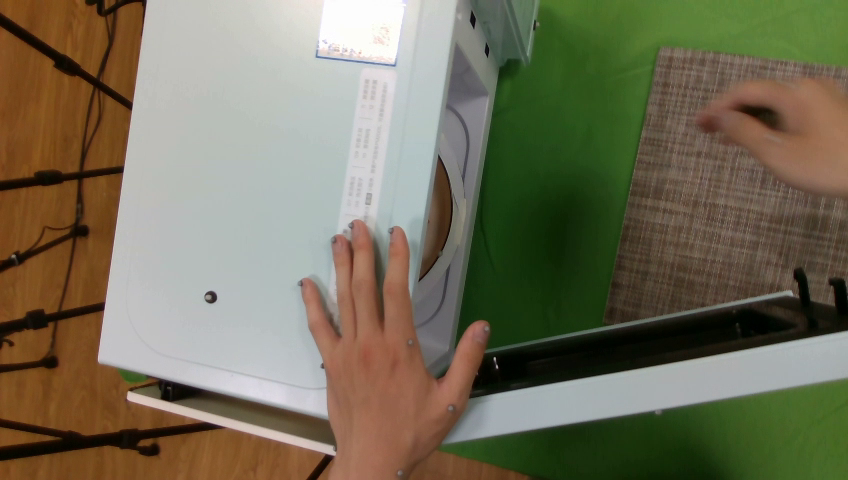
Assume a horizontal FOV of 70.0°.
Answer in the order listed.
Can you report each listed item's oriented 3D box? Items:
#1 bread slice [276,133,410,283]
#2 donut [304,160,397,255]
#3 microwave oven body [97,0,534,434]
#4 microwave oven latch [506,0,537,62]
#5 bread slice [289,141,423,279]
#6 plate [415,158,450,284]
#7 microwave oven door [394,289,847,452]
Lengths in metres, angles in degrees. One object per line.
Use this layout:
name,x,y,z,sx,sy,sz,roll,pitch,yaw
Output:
bread slice,-0.090,-0.036,0.595,0.105,0.019,0.131,-32,85,15
donut,-0.075,-0.033,0.621,0.099,0.048,0.099,0,90,10
microwave oven body,-0.091,-0.086,0.601,0.325,0.261,0.441,10,93,13
microwave oven latch,0.104,-0.235,0.651,0.030,0.029,0.079,9,93,14
bread slice,-0.081,-0.038,0.644,0.107,0.018,0.133,-36,78,1
plate,-0.071,-0.032,0.650,0.207,0.039,0.207,0,90,14
microwave oven door,0.174,0.106,0.530,0.355,0.244,0.039,-15,85,14
